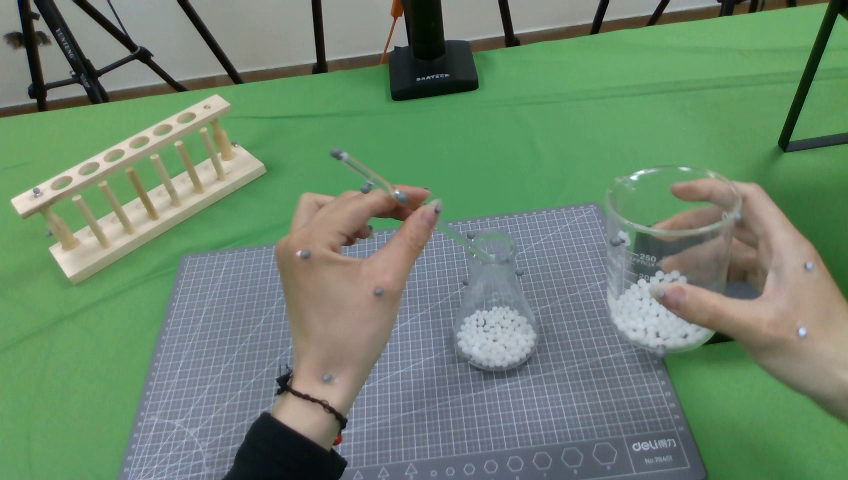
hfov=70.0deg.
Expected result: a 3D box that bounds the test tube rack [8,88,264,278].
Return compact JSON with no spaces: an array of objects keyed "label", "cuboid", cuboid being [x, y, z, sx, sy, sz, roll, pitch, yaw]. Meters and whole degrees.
[{"label":"test tube rack","cuboid":[-0.310,-0.070,0.678,0.242,0.086,0.066,-37,52,-24]}]

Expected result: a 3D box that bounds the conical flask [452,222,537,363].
[{"label":"conical flask","cuboid":[0.056,0.040,0.493,0.075,0.123,0.074,-4,47,5]}]

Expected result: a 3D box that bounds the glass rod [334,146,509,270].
[{"label":"glass rod","cuboid":[0.009,-0.013,0.404,0.008,0.202,0.008,-16,60,30]}]

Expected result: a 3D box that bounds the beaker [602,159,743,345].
[{"label":"beaker","cuboid":[0.149,0.009,0.382,0.074,0.101,0.083,-20,36,-12]}]
